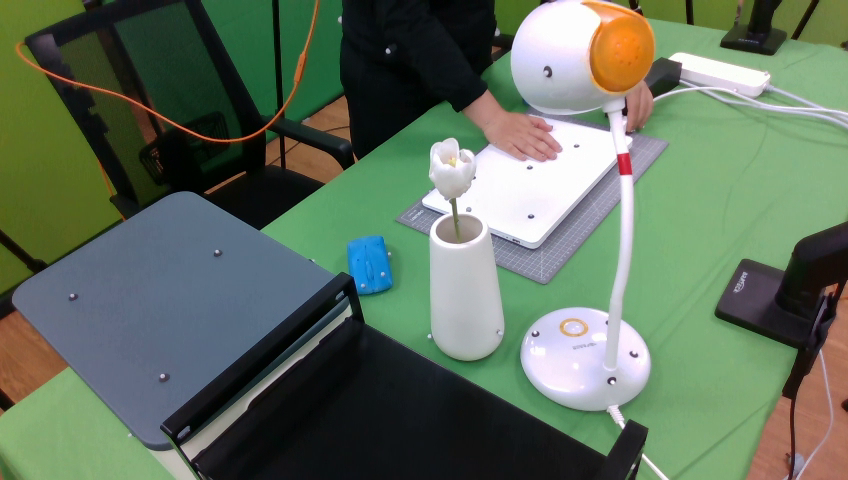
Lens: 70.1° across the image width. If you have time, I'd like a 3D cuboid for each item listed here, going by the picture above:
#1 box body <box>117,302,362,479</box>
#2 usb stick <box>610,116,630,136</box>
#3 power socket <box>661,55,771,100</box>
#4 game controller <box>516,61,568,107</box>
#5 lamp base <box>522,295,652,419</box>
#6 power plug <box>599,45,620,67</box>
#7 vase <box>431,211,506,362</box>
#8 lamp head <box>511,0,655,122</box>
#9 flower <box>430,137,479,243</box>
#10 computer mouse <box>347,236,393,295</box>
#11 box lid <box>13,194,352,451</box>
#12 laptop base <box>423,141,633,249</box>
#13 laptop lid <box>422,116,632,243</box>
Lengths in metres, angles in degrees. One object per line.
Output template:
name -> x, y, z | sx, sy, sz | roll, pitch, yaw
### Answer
box body -> -0.285, 0.123, 0.766 | 0.361, 0.161, 0.255 | 25, 49, 33
usb stick -> 0.370, -0.210, 1.150 | 0.021, 0.027, 0.059 | 22, 53, 28
power socket -> 0.615, -0.348, 1.284 | 0.225, 0.033, 0.072 | 30, 53, 36
game controller -> 0.260, -0.352, 1.336 | 0.097, 0.052, 0.154 | -3, 41, 2
lamp base -> 0.201, 0.095, 0.710 | 0.161, 0.181, 0.178 | -16, 43, -10
power plug -> 0.437, -0.422, 1.411 | 0.053, 0.035, 0.072 | -14, 71, -44
vase -> 0.054, 0.062, 0.757 | 0.098, 0.201, 0.097 | -3, 40, 3
lamp head -> 0.156, -0.168, 0.564 | 0.113, 0.113, 0.122 | -18, 23, -12
flower -> 0.041, 0.010, 0.691 | 0.044, 0.363, 0.038 | 14, 63, 13
computer mouse -> -0.086, 0.035, 0.936 | 0.063, 0.041, 0.116 | -8, 44, -5
box lid -> -0.291, 0.067, 0.717 | 0.368, 0.015, 0.264 | 25, 50, 33
laptop base -> 0.193, -0.116, 1.087 | 0.233, 0.023, 0.355 | 21, 47, 34
laptop lid -> 0.190, -0.125, 1.082 | 0.239, 0.013, 0.358 | 23, 48, 35
